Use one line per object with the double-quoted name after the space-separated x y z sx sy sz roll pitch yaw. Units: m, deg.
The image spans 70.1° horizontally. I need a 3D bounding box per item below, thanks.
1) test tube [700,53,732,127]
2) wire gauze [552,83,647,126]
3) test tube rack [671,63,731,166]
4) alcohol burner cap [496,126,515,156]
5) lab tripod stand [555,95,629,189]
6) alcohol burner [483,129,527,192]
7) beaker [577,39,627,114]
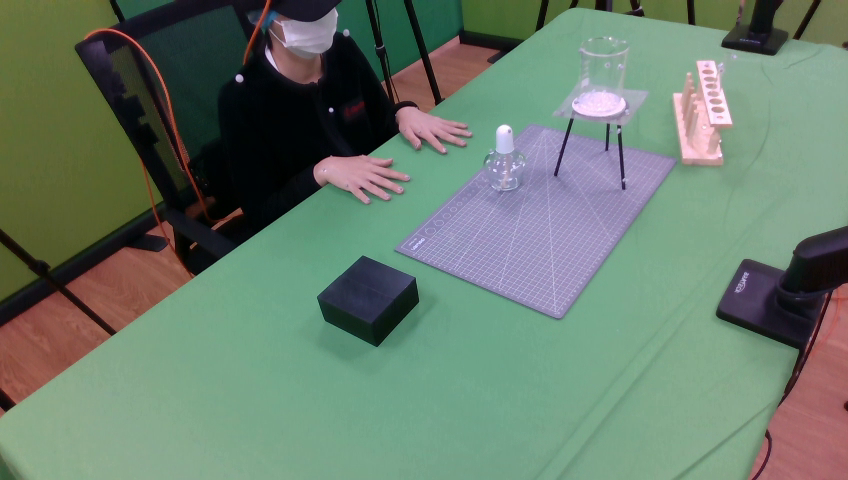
0.521 -0.265 1.081 0.017 0.151 0.017 -3 47 3 "test tube"
0.293 -0.224 1.004 0.120 0.011 0.125 19 43 26 "wire gauze"
0.513 -0.241 1.132 0.066 0.085 0.242 4 41 14 "test tube rack"
0.138 -0.172 1.028 0.034 0.048 0.033 -5 38 5 "alcohol burner cap"
0.300 -0.174 1.045 0.148 0.132 0.147 -5 38 5 "lab tripod stand"
0.141 -0.144 1.050 0.078 0.119 0.077 -4 42 4 "alcohol burner"
0.286 -0.264 0.976 0.073 0.100 0.084 25 49 33 "beaker"
